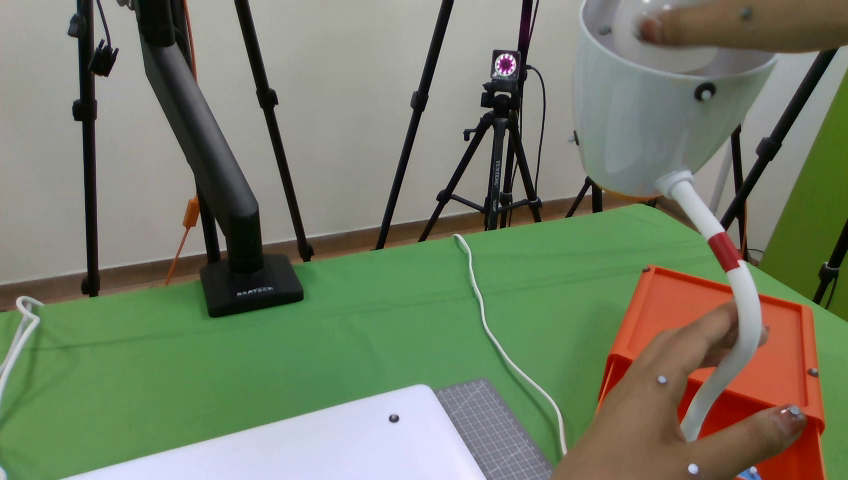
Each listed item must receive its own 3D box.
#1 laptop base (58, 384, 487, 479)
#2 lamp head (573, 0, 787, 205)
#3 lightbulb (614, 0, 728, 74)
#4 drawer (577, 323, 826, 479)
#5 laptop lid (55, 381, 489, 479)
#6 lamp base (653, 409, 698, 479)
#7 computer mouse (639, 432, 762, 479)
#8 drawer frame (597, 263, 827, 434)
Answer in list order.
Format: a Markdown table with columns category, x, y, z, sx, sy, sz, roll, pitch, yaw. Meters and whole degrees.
| category | x | y | z | sx | sy | sz | roll | pitch | yaw |
| --- | --- | --- | --- | --- | --- | --- | --- | --- | --- |
| laptop base | -0.112 | 0.241 | 0.493 | 0.355 | 0.023 | 0.233 | -10 | 35 | -23 |
| lamp head | 0.145 | -0.082 | 0.376 | 0.112 | 0.124 | 0.111 | -1 | 44 | 2 |
| lightbulb | 0.139 | -0.105 | 0.357 | 0.059 | 0.109 | 0.059 | -2 | 50 | 3 |
| drawer | 0.272 | 0.175 | 0.594 | 0.193 | 0.074 | 0.211 | 14 | 30 | 21 |
| laptop lid | -0.110 | 0.231 | 0.486 | 0.358 | 0.013 | 0.239 | -9 | 33 | -21 |
| lamp base | 0.166 | 0.216 | 0.397 | 0.161 | 0.181 | 0.177 | 0 | 26 | -8 |
| computer mouse | 0.251 | 0.214 | 0.549 | 0.117 | 0.041 | 0.062 | 15 | 30 | 13 |
| drawer frame | 0.321 | 0.127 | 0.682 | 0.200 | 0.083 | 0.213 | 15 | 30 | 22 |
